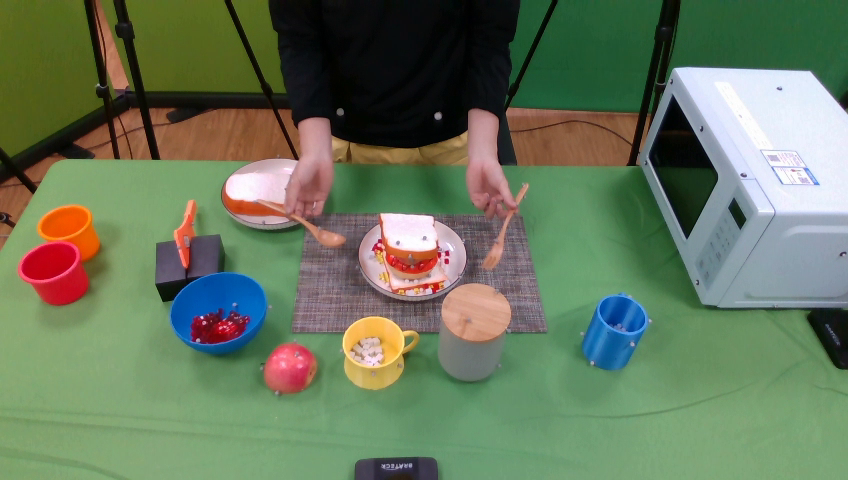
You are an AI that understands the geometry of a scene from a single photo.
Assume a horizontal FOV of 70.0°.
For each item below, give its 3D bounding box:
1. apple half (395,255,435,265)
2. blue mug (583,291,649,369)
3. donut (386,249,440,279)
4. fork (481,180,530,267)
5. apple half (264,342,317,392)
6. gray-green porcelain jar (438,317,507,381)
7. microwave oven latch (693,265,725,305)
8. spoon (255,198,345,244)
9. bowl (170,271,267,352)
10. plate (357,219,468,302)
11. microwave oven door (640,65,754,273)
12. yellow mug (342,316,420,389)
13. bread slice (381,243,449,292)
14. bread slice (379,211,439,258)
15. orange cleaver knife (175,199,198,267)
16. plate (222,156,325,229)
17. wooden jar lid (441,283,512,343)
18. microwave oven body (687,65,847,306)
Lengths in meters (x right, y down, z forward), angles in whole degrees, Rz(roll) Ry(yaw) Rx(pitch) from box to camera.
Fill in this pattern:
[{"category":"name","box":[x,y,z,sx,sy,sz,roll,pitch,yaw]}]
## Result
[{"category":"apple half","box":[-0.017,0.005,1.084,0.081,0.033,0.081,5,49,-6]},{"category":"blue mug","box":[0.324,0.142,1.023,0.082,0.106,0.116,15,47,11]},{"category":"donut","box":[-0.021,0.029,1.111,0.099,0.048,0.098,2,46,-2]},{"category":"fork","box":[0.157,-0.033,1.140,0.028,0.019,0.206,8,62,41]},{"category":"apple half","box":[-0.214,0.198,0.970,0.074,0.053,0.080,19,48,10]},{"category":"gray-green porcelain jar","box":[0.076,0.158,0.977,0.106,0.127,0.105,2,47,-2]},{"category":"microwave oven latch","box":[0.523,0.081,1.115,0.030,0.029,0.078,2,46,-1]},{"category":"spoon","box":[-0.229,-0.039,1.109,0.193,0.022,0.041,28,40,12]},{"category":"bowl","box":[-0.333,0.132,1.006,0.151,0.077,0.150,2,46,-2]},{"category":"plate","box":[-0.022,0.037,1.141,0.208,0.039,0.206,2,46,-2]},{"category":"microwave oven door","box":[0.523,-0.147,1.193,0.039,0.245,0.353,0,47,-3]},{"category":"yellow mug","box":[-0.067,0.178,0.990,0.131,0.064,0.099,-16,50,-19]},{"category":"bread slice","box":[-0.027,0.039,1.139,0.107,0.018,0.133,-12,47,-17]},{"category":"bread slice","box":[-0.024,-0.012,1.064,0.105,0.019,0.130,3,33,-10]},{"category":"orange cleaver knife","box":[-0.438,-0.017,1.138,0.012,0.077,0.210,-14,27,-7]},{"category":"plate","box":[-0.308,-0.095,1.251,0.209,0.038,0.208,2,47,-2]},{"category":"wooden jar lid","box":[0.080,0.114,0.931,0.108,0.021,0.107,1,49,-1]},{"category":"microwave oven body","box":[0.669,-0.111,1.176,0.326,0.261,0.439,0,46,-3]}]
